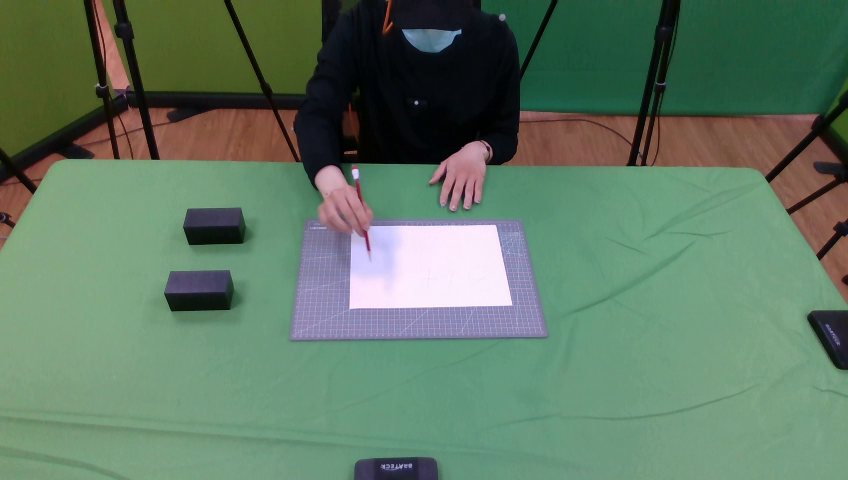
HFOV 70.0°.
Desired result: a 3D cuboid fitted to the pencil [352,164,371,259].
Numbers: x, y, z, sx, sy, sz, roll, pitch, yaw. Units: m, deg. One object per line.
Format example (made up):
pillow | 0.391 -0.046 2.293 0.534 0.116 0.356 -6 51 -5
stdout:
pencil | -0.114 -0.054 1.114 0.012 0.012 0.193 -8 71 -12
